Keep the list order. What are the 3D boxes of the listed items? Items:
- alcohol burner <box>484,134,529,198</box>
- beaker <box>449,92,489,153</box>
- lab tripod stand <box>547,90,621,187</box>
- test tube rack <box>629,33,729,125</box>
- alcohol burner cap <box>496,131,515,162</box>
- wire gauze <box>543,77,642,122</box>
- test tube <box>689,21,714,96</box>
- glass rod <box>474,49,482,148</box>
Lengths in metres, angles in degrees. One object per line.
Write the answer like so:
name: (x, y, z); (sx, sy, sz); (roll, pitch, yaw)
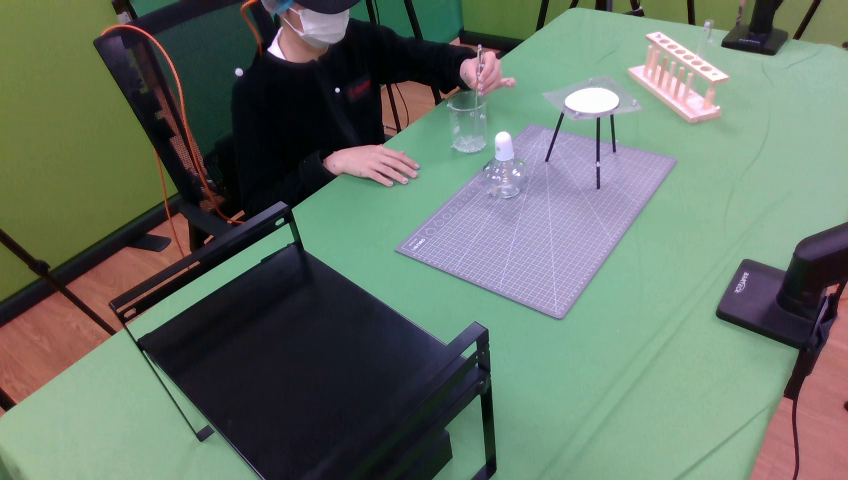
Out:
alcohol burner: (0.141, -0.133, 1.041); (0.078, 0.119, 0.077); (-5, 43, 5)
beaker: (0.092, -0.228, 1.177); (0.073, 0.101, 0.084); (15, 45, 24)
lab tripod stand: (0.289, -0.184, 1.062); (0.148, 0.132, 0.147); (-6, 41, 6)
test tube rack: (0.516, -0.337, 1.247); (0.067, 0.085, 0.240); (-14, 41, -7)
alcohol burner cap: (0.135, -0.160, 1.019); (0.034, 0.048, 0.033); (-8, 37, 7)
wire gauze: (0.282, -0.236, 1.020); (0.125, 0.011, 0.120); (-15, 40, -6)
test tube: (0.542, -0.353, 1.184); (0.017, 0.151, 0.017); (-2, 40, 2)
glass rod: (0.101, -0.257, 1.121); (0.008, 0.200, 0.008); (0, 40, 1)
